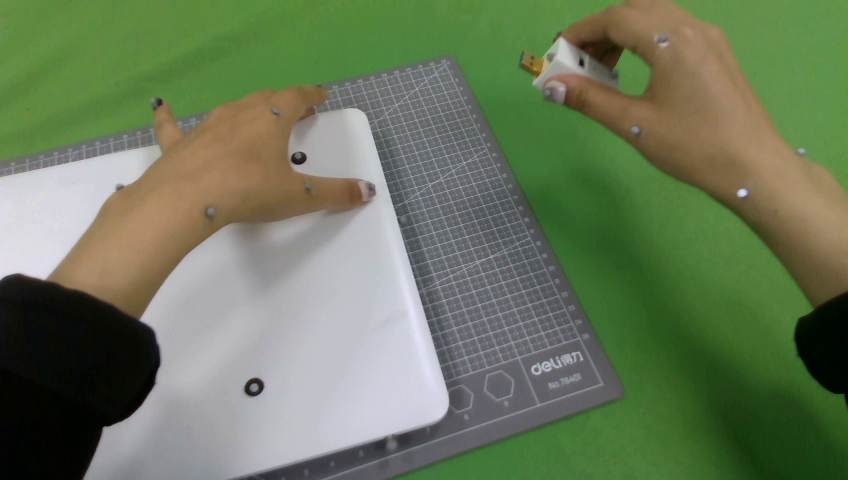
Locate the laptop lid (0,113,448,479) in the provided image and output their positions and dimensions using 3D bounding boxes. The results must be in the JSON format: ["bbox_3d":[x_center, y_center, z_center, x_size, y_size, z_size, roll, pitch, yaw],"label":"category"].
[{"bbox_3d":[-0.183,0.043,0.361,0.357,0.013,0.239,-12,61,-7],"label":"laptop lid"}]

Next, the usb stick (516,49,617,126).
[{"bbox_3d":[0.085,-0.095,0.366,0.059,0.027,0.021,23,52,-9],"label":"usb stick"}]

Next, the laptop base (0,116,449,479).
[{"bbox_3d":[-0.183,0.047,0.372,0.355,0.023,0.233,-13,63,-8],"label":"laptop base"}]
